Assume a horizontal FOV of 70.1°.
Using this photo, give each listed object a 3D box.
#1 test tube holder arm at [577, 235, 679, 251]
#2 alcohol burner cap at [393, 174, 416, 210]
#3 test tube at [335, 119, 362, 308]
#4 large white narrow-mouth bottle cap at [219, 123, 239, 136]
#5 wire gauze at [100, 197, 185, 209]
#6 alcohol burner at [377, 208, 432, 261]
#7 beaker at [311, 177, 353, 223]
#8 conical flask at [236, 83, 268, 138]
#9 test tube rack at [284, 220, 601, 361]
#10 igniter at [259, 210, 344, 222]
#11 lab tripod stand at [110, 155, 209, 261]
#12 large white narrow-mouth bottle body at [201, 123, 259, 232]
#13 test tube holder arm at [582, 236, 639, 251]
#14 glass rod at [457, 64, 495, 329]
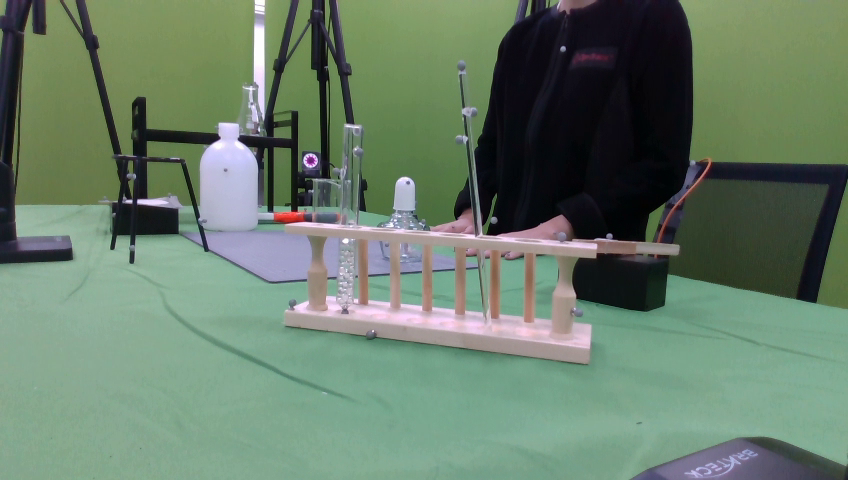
[{"bbox_3d":[0.227,0.004,0.661,0.179,0.015,0.013,1,13,-39],"label":"test tube holder arm"},{"bbox_3d":[-0.025,-0.067,0.833,0.034,0.048,0.034,4,12,-1],"label":"alcohol burner cap"},{"bbox_3d":[-0.060,-0.019,0.475,0.017,0.150,0.017,4,11,0],"label":"test tube"},{"bbox_3d":[-0.356,-0.201,1.104,0.038,0.024,0.037,2,8,0],"label":"large white narrow-mouth bottle cap"},{"bbox_3d":[-0.469,-0.062,1.008,0.126,0.011,0.121,-2,8,-25],"label":"wire gauze"},{"bbox_3d":[-0.027,-0.031,0.838,0.078,0.119,0.078,0,6,0],"label":"alcohol burner"},{"bbox_3d":[-0.167,-0.064,1.106,0.074,0.100,0.083,-2,9,-27],"label":"beaker"},{"bbox_3d":[-0.400,-0.298,1.396,0.075,0.122,0.075,2,8,0],"label":"conical flask"},{"bbox_3d":[0.013,0.032,0.482,0.242,0.085,0.067,4,7,16],"label":"test tube rack"},{"bbox_3d":[-0.303,-0.049,1.258,0.278,0.025,0.057,-2,-2,-28],"label":"igniter"},{"bbox_3d":[-0.361,-0.046,0.806,0.148,0.131,0.148,2,5,0],"label":"lab tripod stand"},{"bbox_3d":[-0.358,-0.116,1.116,0.102,0.194,0.102,2,8,0],"label":"large white narrow-mouth bottle body"},{"bbox_3d":[0.194,0.004,0.629,0.088,0.015,0.010,2,13,-38],"label":"test tube holder arm"},{"bbox_3d":[0.039,-0.029,0.449,0.008,0.199,0.008,-7,9,1],"label":"glass rod"}]
